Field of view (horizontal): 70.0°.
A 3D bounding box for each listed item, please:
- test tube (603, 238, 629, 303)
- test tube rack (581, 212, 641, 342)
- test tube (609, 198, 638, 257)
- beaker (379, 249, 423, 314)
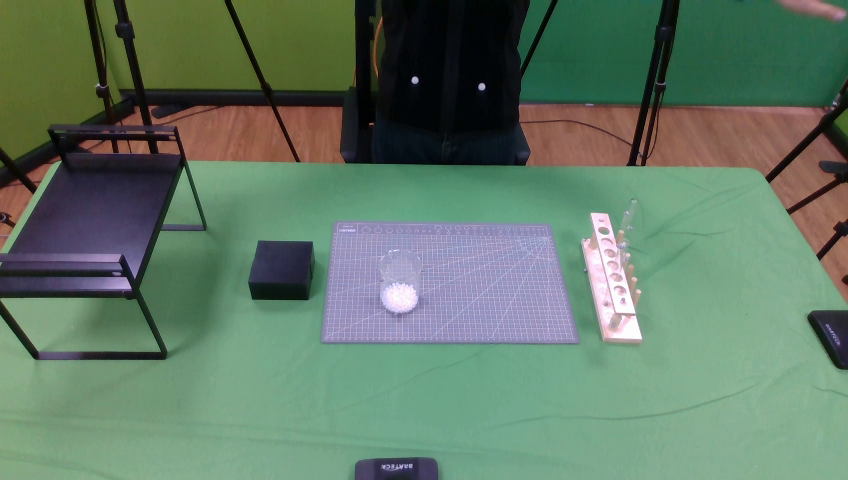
[{"bbox_3d":[0.334,0.056,1.058,0.017,0.151,0.017,0,41,0],"label":"test tube"},{"bbox_3d":[0.351,0.063,1.121,0.067,0.085,0.241,2,46,-1],"label":"test tube rack"},{"bbox_3d":[0.375,-0.021,1.141,0.017,0.151,0.017,2,45,-2],"label":"test tube"},{"bbox_3d":[-0.044,0.074,1.066,0.074,0.101,0.083,-22,51,-23],"label":"beaker"}]
